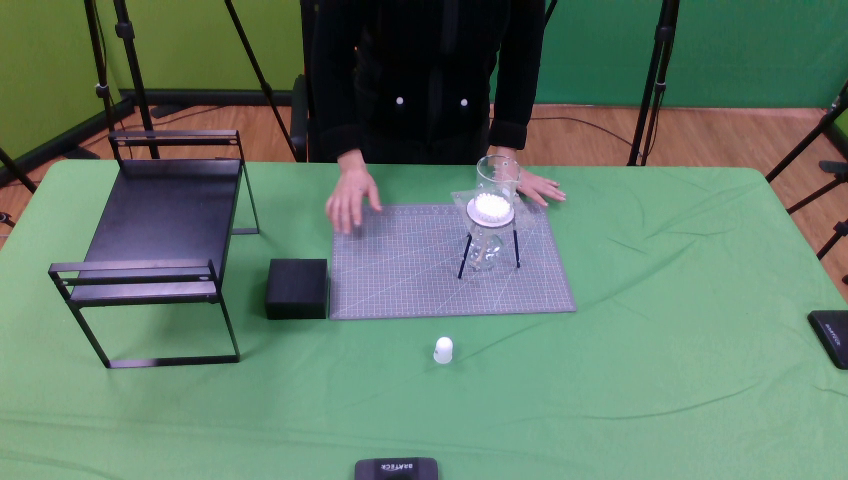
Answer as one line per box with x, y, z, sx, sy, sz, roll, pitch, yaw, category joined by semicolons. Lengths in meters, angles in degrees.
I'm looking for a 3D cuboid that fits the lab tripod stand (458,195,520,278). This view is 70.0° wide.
0.115;-0.011;1.135;0.148;0.132;0.147;1;45;-1;lab tripod stand

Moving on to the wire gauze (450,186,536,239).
0.122;-0.056;1.088;0.121;0.011;0.124;-10;44;-16;wire gauze

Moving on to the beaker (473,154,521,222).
0.125;-0.086;1.050;0.083;0.101;0.074;29;50;23;beaker

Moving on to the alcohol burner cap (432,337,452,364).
0.031;0.182;1.011;0.034;0.048;0.033;3;44;-3;alcohol burner cap

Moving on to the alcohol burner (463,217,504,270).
0.114;0.000;1.139;0.078;0.119;0.077;3;48;-3;alcohol burner
